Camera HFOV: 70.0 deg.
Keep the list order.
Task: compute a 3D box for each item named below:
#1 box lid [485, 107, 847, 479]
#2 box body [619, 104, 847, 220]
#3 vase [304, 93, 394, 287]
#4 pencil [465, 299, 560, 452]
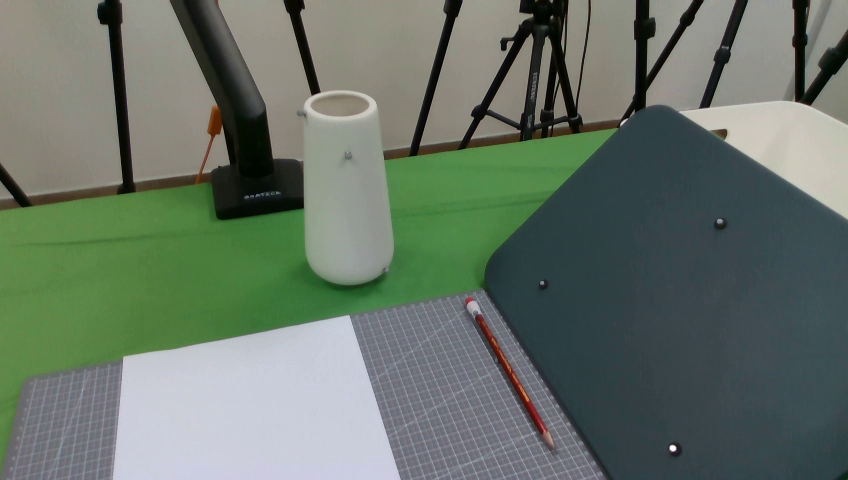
[{"bbox_3d":[0.210,0.050,0.517,0.015,0.263,0.367,33,17,-37],"label":"box lid"},{"bbox_3d":[0.376,0.016,0.602,0.255,0.162,0.360,-10,37,-15],"label":"box body"},{"bbox_3d":[-0.082,-0.048,0.634,0.098,0.201,0.097,0,35,0],"label":"vase"},{"bbox_3d":[0.079,0.119,0.567,0.012,0.012,0.192,-11,39,-17],"label":"pencil"}]
